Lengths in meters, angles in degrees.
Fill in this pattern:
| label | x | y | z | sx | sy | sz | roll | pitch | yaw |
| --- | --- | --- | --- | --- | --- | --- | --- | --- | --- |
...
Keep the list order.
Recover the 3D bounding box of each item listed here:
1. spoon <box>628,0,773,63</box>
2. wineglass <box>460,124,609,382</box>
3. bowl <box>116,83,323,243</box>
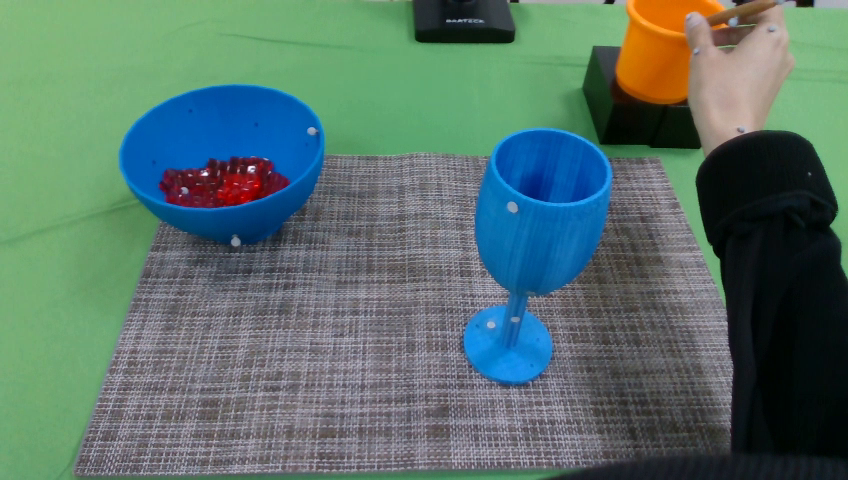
| label | x | y | z | sx | sy | sz | roll | pitch | yaw |
| --- | --- | --- | --- | --- | --- | --- | --- | --- | --- |
| spoon | 0.225 | -0.175 | 0.511 | 0.042 | 0.193 | 0.021 | -7 | 93 | -4 |
| wineglass | 0.061 | 0.017 | 0.375 | 0.074 | 0.174 | 0.073 | 1 | 48 | -1 |
| bowl | -0.154 | -0.051 | 0.486 | 0.151 | 0.077 | 0.150 | 2 | 49 | -2 |
